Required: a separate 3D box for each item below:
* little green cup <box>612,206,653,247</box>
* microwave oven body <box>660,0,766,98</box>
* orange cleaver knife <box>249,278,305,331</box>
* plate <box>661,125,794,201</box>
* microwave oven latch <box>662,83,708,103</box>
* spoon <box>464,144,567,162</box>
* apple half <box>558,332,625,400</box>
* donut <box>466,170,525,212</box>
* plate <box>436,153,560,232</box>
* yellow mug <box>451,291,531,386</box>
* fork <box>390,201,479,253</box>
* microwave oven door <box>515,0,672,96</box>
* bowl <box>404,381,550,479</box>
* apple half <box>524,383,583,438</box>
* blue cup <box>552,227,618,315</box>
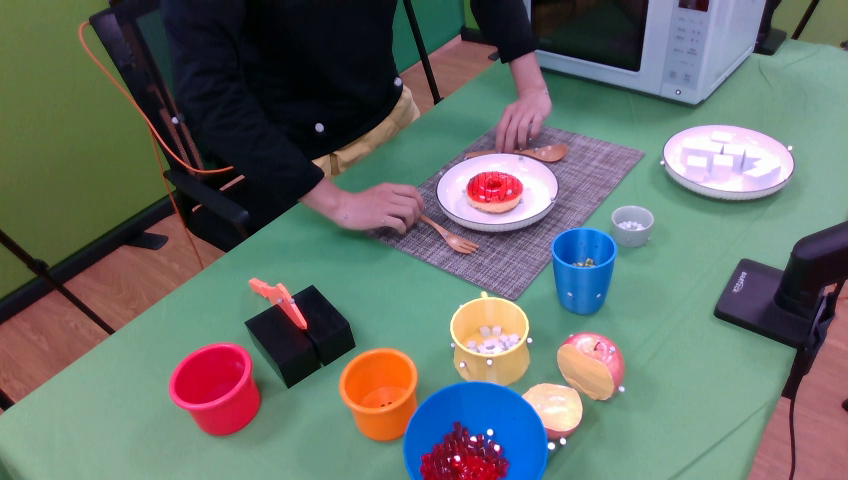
[{"bbox_3d":[0.321,-0.019,0.936,0.061,0.039,0.061,-4,40,4],"label":"little green cup"},{"bbox_3d":[0.473,-0.513,1.317,0.438,0.261,0.327,26,51,34],"label":"microwave oven body"},{"bbox_3d":[-0.210,0.088,0.856,0.012,0.077,0.210,-28,15,-25],"label":"orange cleaver knife"},{"bbox_3d":[0.513,-0.128,1.035,0.207,0.039,0.206,-4,40,4],"label":"plate"},{"bbox_3d":[0.518,-0.297,1.205,0.078,0.029,0.030,29,53,36],"label":"microwave oven latch"},{"bbox_3d":[0.170,-0.164,1.135,0.193,0.022,0.041,2,65,10],"label":"spoon"},{"bbox_3d":[0.209,0.147,0.731,0.080,0.075,0.053,25,46,38],"label":"apple half"},{"bbox_3d":[0.121,-0.084,1.019,0.099,0.048,0.098,-4,39,3],"label":"donut"},{"bbox_3d":[0.125,-0.078,1.029,0.209,0.038,0.208,-4,40,4],"label":"plate"},{"bbox_3d":[0.086,0.120,0.786,0.100,0.064,0.130,-7,39,1],"label":"yellow mug"},{"bbox_3d":[0.011,-0.025,0.998,0.028,0.019,0.205,-42,52,-20],"label":"fork"},{"bbox_3d":[0.344,-0.455,1.260,0.353,0.245,0.039,26,51,33],"label":"microwave oven door"},{"bbox_3d":[0.058,0.235,0.645,0.151,0.077,0.150,-4,39,4],"label":"bowl"},{"bbox_3d":[0.149,0.204,0.704,0.081,0.033,0.081,-10,25,5],"label":"apple half"},{"bbox_3d":[0.218,0.047,0.825,0.092,0.100,0.092,-6,39,5],"label":"blue cup"}]
